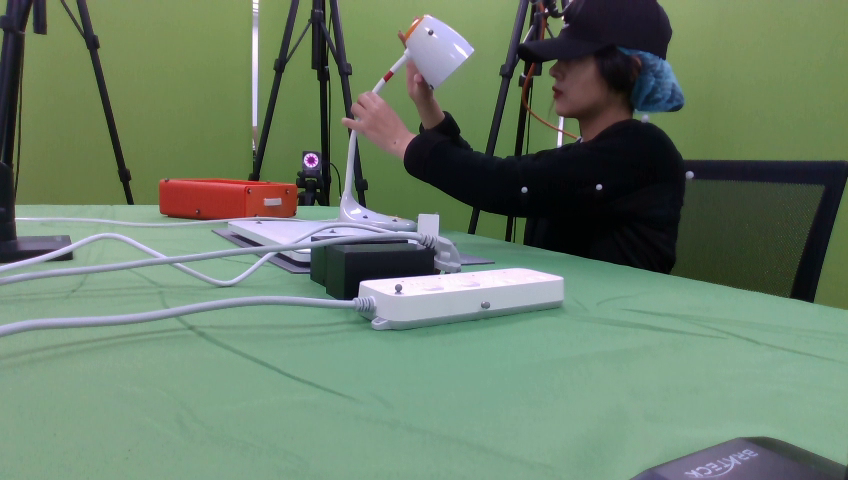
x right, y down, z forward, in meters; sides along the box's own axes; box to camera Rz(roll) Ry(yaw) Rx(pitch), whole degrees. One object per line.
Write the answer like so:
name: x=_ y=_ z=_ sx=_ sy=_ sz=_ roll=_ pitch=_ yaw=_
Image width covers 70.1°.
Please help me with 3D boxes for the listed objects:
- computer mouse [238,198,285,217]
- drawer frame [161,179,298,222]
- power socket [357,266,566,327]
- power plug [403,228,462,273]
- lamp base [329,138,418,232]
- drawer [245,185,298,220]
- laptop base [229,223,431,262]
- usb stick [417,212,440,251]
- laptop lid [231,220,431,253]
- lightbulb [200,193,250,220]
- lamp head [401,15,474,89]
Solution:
computer mouse: x=-0.354 y=-0.072 z=1.325 sx=0.063 sy=0.041 sz=0.117 roll=3 pitch=3 yaw=11
drawer frame: x=-0.419 y=-0.089 z=1.328 sx=0.213 sy=0.082 sz=0.202 roll=4 pitch=8 yaw=18
power socket: x=0.042 y=0.049 z=0.573 sx=0.228 sy=0.032 sz=0.072 roll=-3 pitch=8 yaw=-34
power plug: x=0.006 y=0.016 z=0.647 sx=0.073 sy=0.052 sz=0.035 roll=17 pitch=12 yaw=-6
lamp base: x=-0.100 y=-0.112 z=1.210 sx=0.180 sy=0.180 sz=0.160 roll=0 pitch=8 yaw=-13
drawer: x=-0.416 y=-0.087 z=1.329 sx=0.211 sy=0.073 sz=0.195 roll=4 pitch=8 yaw=18
laptop base: x=-0.145 y=0.002 z=0.943 sx=0.237 sy=0.023 sz=0.352 roll=2 pitch=6 yaw=-32
usb stick: x=0.005 y=-0.003 z=0.721 sx=0.027 sy=0.059 sz=0.021 roll=0 pitch=-3 yaw=-2
laptop lid: x=-0.142 y=-0.009 z=0.942 sx=0.243 sy=0.013 sz=0.355 roll=1 pitch=7 yaw=-31
lightbulb: x=-0.433 y=-0.079 z=1.319 sx=0.108 sy=0.059 sz=0.059 roll=-17 pitch=13 yaw=-16
lamp head: x=0.017 y=-0.371 z=1.174 sx=0.123 sy=0.112 sz=0.112 roll=40 pitch=2 yaw=-9
